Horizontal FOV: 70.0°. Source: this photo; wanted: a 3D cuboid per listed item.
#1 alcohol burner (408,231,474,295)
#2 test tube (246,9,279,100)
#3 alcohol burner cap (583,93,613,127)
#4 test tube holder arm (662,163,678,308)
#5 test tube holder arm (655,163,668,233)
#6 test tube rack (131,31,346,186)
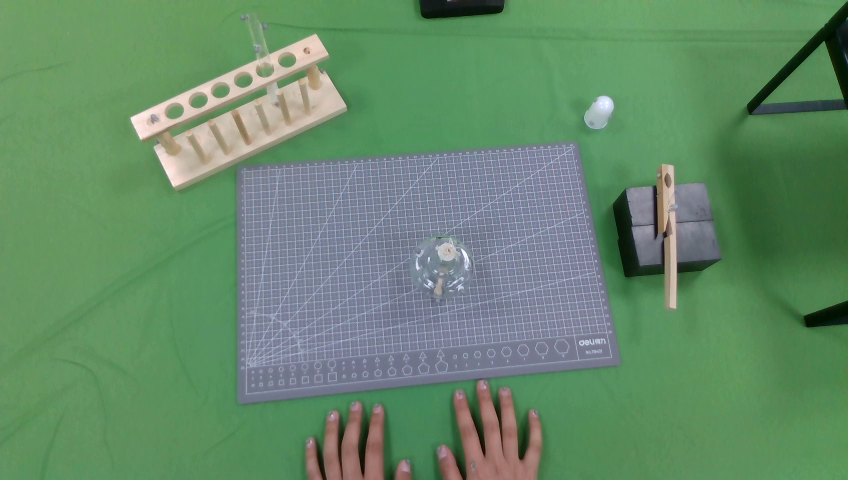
[{"bbox_3d":[0.021,0.022,0.695,0.078,0.119,0.077,1,73,-3],"label":"alcohol burner"},{"bbox_3d":[-0.190,-0.217,0.727,0.017,0.151,0.017,1,67,-3],"label":"test tube"},{"bbox_3d":[0.234,-0.175,0.807,0.034,0.048,0.033,0,72,-1],"label":"alcohol burner cap"},{"bbox_3d":[0.291,-0.008,0.720,0.013,0.015,0.177,2,74,-1],"label":"test tube holder arm"},{"bbox_3d":[0.287,-0.051,0.732,0.010,0.015,0.087,4,74,0],"label":"test tube holder arm"},{"bbox_3d":[-0.224,-0.164,0.761,0.242,0.085,0.066,-28,75,-11],"label":"test tube rack"}]
